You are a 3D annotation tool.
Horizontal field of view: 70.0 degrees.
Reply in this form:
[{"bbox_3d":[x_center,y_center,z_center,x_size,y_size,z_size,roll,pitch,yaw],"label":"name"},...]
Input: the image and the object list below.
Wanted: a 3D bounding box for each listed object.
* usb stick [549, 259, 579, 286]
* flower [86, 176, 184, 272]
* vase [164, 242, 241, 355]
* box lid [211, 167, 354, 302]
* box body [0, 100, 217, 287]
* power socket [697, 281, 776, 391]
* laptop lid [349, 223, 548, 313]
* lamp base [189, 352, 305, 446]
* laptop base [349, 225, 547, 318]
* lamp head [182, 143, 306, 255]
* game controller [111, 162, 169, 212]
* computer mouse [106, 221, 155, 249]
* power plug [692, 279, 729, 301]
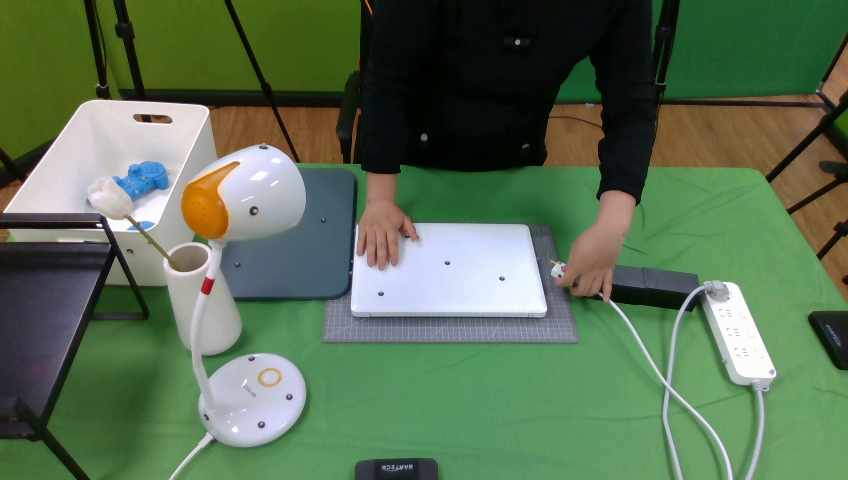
[{"bbox_3d":[0.254,0.058,1.118,0.059,0.021,0.027,32,58,16],"label":"usb stick"},{"bbox_3d":[-0.365,0.038,0.894,0.038,0.364,0.044,-4,53,15],"label":"flower"},{"bbox_3d":[-0.349,0.096,0.953,0.098,0.201,0.097,3,47,-3],"label":"vase"},{"bbox_3d":[-0.276,-0.023,1.205,0.263,0.015,0.369,0,46,-4],"label":"box lid"},{"bbox_3d":[-0.559,-0.092,1.144,0.254,0.161,0.361,3,46,-2],"label":"box body"},{"bbox_3d":[0.550,0.161,1.078,0.072,0.033,0.225,2,46,-1],"label":"power socket"},{"bbox_3d":[0.041,0.047,1.142,0.357,0.013,0.240,2,43,-3],"label":"laptop lid"},{"bbox_3d":[-0.268,0.197,0.876,0.160,0.181,0.179,26,52,20],"label":"lamp base"},{"bbox_3d":[0.041,0.056,1.148,0.354,0.023,0.234,0,42,-4],"label":"laptop base"},{"bbox_3d":[-0.215,-0.043,0.696,0.112,0.113,0.123,23,31,17],"label":"lamp head"},{"bbox_3d":[-0.597,-0.113,1.234,0.097,0.052,0.155,29,52,20],"label":"game controller"},{"bbox_3d":[-0.537,0.009,1.127,0.062,0.041,0.117,31,55,21],"label":"computer mouse"},{"bbox_3d":[0.522,0.091,1.115,0.072,0.053,0.035,11,48,8],"label":"power plug"}]
